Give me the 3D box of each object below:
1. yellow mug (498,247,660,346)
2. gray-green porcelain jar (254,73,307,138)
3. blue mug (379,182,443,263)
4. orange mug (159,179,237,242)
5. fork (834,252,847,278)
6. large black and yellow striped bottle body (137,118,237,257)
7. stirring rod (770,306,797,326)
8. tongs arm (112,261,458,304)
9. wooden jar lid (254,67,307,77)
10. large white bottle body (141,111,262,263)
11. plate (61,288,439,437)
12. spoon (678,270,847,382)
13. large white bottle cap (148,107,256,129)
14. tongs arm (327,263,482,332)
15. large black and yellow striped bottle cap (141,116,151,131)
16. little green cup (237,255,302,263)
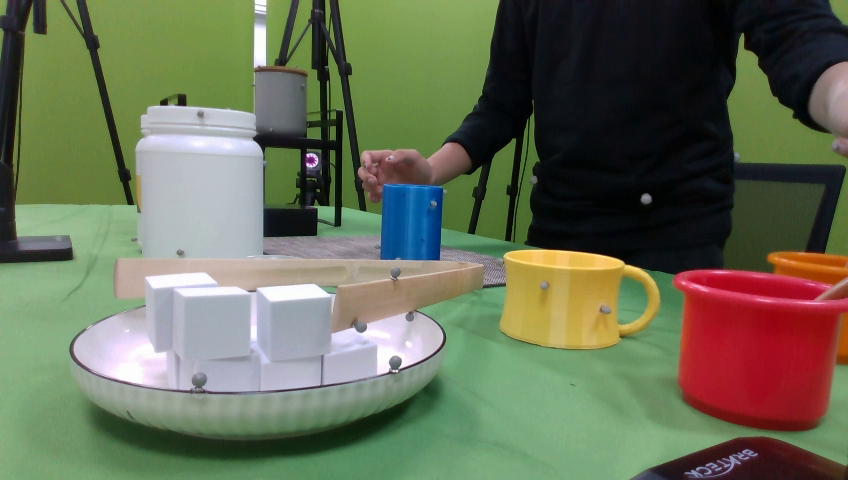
[{"bbox_3d":[0.130,0.045,0.508,0.131,0.064,0.100,4,7,6],"label":"yellow mug"},{"bbox_3d":[-0.298,-0.277,1.259,0.106,0.126,0.106,3,8,0],"label":"gray-green porcelain jar"},{"bbox_3d":[-0.020,-0.025,0.833,0.082,0.106,0.116,1,7,-6],"label":"blue mug"},{"bbox_3d":[-0.368,-0.051,0.991,0.127,0.101,0.083,-10,14,-41],"label":"orange mug"},{"bbox_3d":[0.325,-0.030,0.428,0.028,0.207,0.018,-11,36,-24],"label":"fork"},{"bbox_3d":[-0.330,-0.075,0.849,0.131,0.184,0.130,2,8,0],"label":"large black and yellow striped bottle body"},{"bbox_3d":[0.350,0.021,0.471,0.014,0.006,0.175,3,-39,-45],"label":"stirring rod"},{"bbox_3d":[-0.080,0.032,0.527,0.028,0.027,0.389,-3,-3,33],"label":"tongs arm"},{"bbox_3d":[-0.296,-0.339,1.251,0.108,0.020,0.108,2,7,0],"label":"wooden jar lid"},{"bbox_3d":[-0.254,-0.053,0.697,0.131,0.184,0.130,2,7,0],"label":"large white bottle body"},{"bbox_3d":[-0.095,0.069,0.362,0.208,0.039,0.207,3,7,0],"label":"plate"},{"bbox_3d":[0.229,0.031,0.338,0.193,0.021,0.042,-44,-17,27],"label":"spoon"},{"bbox_3d":[-0.250,-0.137,0.686,0.115,0.018,0.115,2,8,0],"label":"large white bottle cap"},{"bbox_3d":[-0.003,0.036,0.493,0.050,0.026,0.386,1,0,19],"label":"tongs arm"},{"bbox_3d":[-0.328,-0.158,0.837,0.115,0.019,0.115,2,6,0],"label":"large black and yellow striped bottle cap"},{"bbox_3d":[-0.150,0.038,0.590,0.061,0.038,0.061,3,6,0],"label":"little green cup"}]
